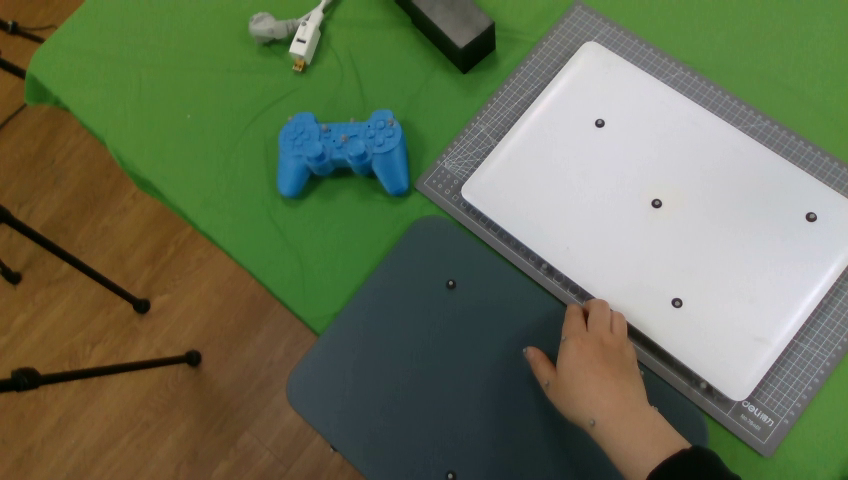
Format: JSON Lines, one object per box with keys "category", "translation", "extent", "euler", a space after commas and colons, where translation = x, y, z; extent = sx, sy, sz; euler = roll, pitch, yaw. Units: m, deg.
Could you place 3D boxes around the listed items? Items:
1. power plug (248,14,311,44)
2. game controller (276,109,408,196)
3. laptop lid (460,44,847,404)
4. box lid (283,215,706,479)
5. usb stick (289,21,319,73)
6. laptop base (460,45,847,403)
{"category": "power plug", "translation": [-0.185, -0.268, 0.766], "extent": [0.073, 0.035, 0.052], "euler": [-16, 40, -34]}
{"category": "game controller", "translation": [-0.095, -0.102, 0.692], "extent": [0.155, 0.052, 0.096], "euler": [0, 72, 7]}
{"category": "laptop lid", "translation": [0.239, -0.033, 0.628], "extent": [0.354, 0.013, 0.241], "euler": [40, 85, 16]}
{"category": "box lid", "translation": [0.056, 0.167, 0.612], "extent": [0.369, 0.015, 0.263], "euler": [37, 85, 16]}
{"category": "usb stick", "translation": [-0.150, -0.235, 0.745], "extent": [0.021, 0.027, 0.059], "euler": [18, 84, 5]}
{"category": "laptop base", "translation": [0.242, -0.032, 0.640], "extent": [0.352, 0.023, 0.235], "euler": [39, 86, 16]}
